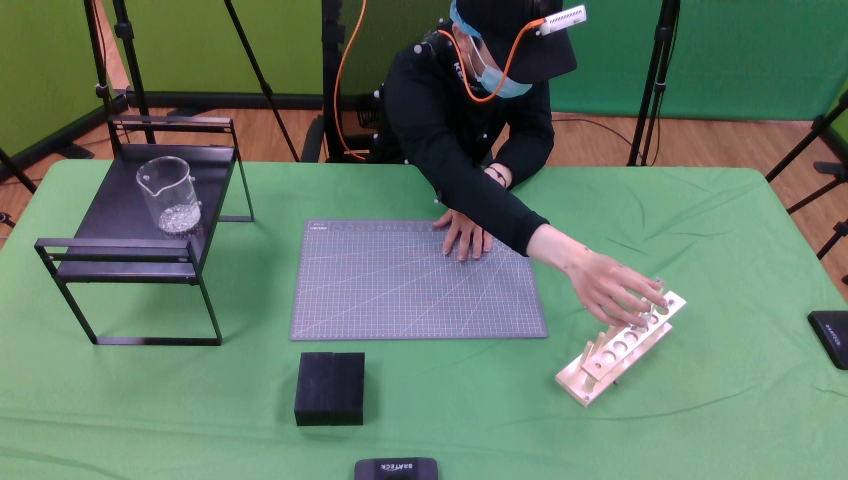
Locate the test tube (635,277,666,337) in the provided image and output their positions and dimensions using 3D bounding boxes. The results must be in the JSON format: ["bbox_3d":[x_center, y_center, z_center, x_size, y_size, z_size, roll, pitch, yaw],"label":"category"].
[{"bbox_3d":[0.351,0.108,0.944,0.017,0.151,0.017,-1,48,2],"label":"test tube"}]

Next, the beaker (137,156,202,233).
[{"bbox_3d":[-0.385,-0.065,0.925,0.074,0.101,0.083,2,47,-1],"label":"beaker"}]

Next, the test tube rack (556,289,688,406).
[{"bbox_3d":[0.332,0.166,1.014,0.242,0.085,0.066,-30,55,-28],"label":"test tube rack"}]
